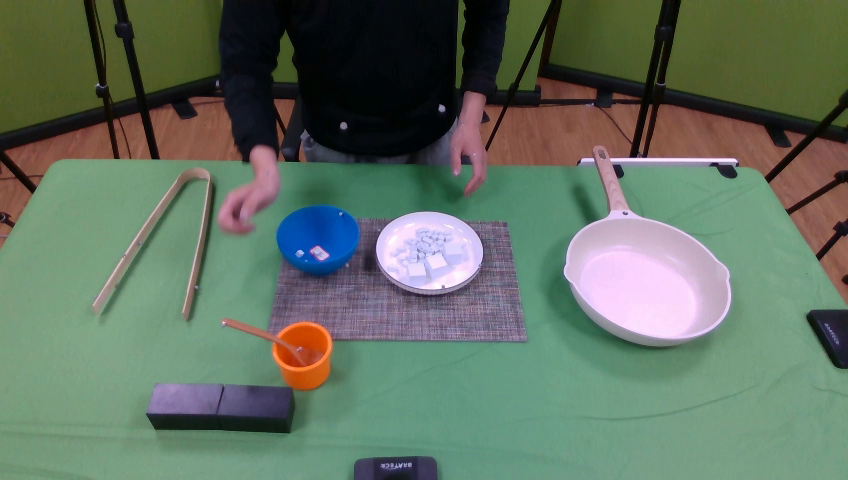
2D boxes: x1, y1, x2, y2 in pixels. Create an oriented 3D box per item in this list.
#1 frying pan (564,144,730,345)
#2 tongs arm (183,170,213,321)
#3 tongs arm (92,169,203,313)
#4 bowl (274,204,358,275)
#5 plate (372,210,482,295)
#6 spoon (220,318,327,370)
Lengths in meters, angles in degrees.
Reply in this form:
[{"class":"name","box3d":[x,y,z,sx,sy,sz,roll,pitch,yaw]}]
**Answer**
[{"class":"frying pan","box3d":[0.396,-0.008,1.179,0.307,0.103,0.484,0,55,-5]},{"class":"tongs arm","box3d":[-0.436,-0.005,1.166,0.028,0.028,0.385,-5,46,-6]},{"class":"tongs arm","box3d":[-0.517,-0.012,1.160,0.051,0.026,0.382,7,45,1]},{"class":"bowl","box3d":[-0.197,0.012,1.126,0.151,0.077,0.150,2,46,-2]},{"class":"plate","box3d":[0.005,0.028,1.155,0.208,0.039,0.206,3,46,-2]},{"class":"spoon","box3d":[-0.229,0.158,0.940,0.021,0.195,0.041,-37,39,22]}]
